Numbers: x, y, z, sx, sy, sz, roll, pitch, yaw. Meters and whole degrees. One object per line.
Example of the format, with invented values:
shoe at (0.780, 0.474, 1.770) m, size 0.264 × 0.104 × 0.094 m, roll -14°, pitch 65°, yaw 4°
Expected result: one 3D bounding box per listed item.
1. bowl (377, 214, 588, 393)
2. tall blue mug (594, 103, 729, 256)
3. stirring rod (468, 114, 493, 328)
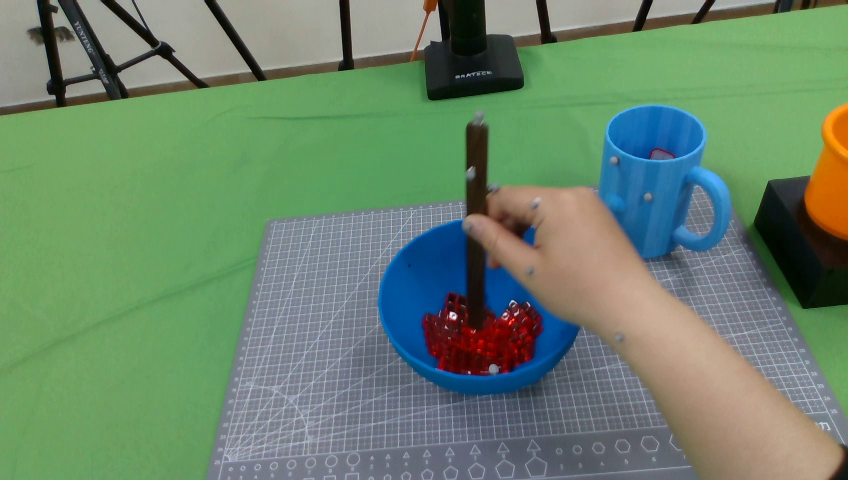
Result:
bowl at (0.045, 0.059, 0.459) m, size 0.151 × 0.077 × 0.150 m, roll -4°, pitch 46°, yaw 5°
tall blue mug at (0.202, -0.045, 0.511) m, size 0.106 × 0.109 × 0.077 m, roll 15°, pitch 50°, yaw 22°
stirring rod at (0.036, -0.003, 0.398) m, size 0.014 × 0.178 × 0.006 m, roll 8°, pitch 41°, yaw 13°
